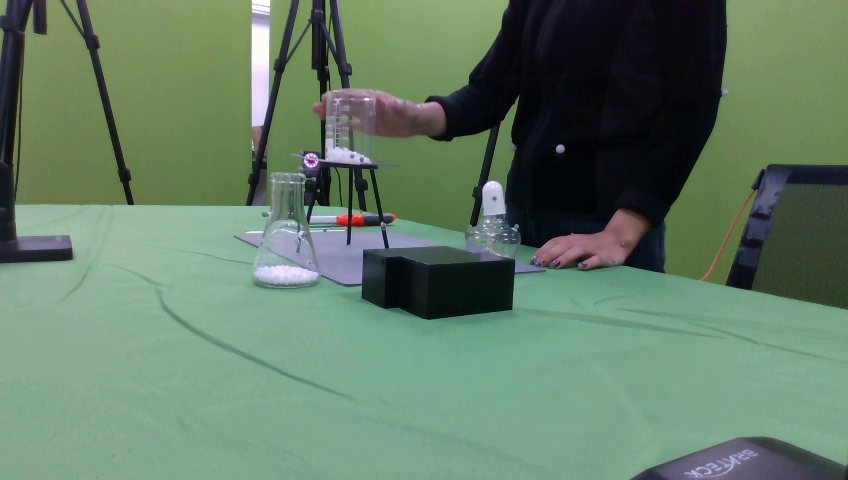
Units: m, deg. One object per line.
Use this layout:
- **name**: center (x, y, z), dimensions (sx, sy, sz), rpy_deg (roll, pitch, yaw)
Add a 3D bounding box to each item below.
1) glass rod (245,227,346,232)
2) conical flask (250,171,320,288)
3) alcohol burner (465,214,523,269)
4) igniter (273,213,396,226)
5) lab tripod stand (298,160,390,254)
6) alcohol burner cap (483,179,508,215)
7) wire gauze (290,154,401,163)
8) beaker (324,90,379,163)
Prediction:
- **glass rod**: center (-0.237, -0.021, 1.141), dimensions (0.201, 0.008, 0.008), rpy_deg (-2, 8, -32)
- **conical flask**: center (-0.150, -0.013, 0.658), dimensions (0.075, 0.122, 0.075), rpy_deg (2, 7, 0)
- **alcohol burner**: center (0.094, -0.022, 0.815), dimensions (0.078, 0.119, 0.078), rpy_deg (0, 7, 0)
- **igniter**: center (-0.178, -0.044, 1.258), dimensions (0.278, 0.025, 0.057), rpy_deg (-3, -1, -39)
- **lab tripod stand**: center (-0.111, -0.050, 0.893), dimensions (0.148, 0.131, 0.148), rpy_deg (4, 7, 0)
- **alcohol burner cap**: center (0.094, -0.057, 0.810), dimensions (0.034, 0.048, 0.034), rpy_deg (-7, 6, 1)
- **wire gauze**: center (-0.112, -0.115, 0.883), dimensions (0.124, 0.011, 0.122), rpy_deg (5, 5, 28)
- **beaker**: center (-0.110, -0.162, 0.879), dimensions (0.083, 0.100, 0.074), rpy_deg (8, 7, 36)
